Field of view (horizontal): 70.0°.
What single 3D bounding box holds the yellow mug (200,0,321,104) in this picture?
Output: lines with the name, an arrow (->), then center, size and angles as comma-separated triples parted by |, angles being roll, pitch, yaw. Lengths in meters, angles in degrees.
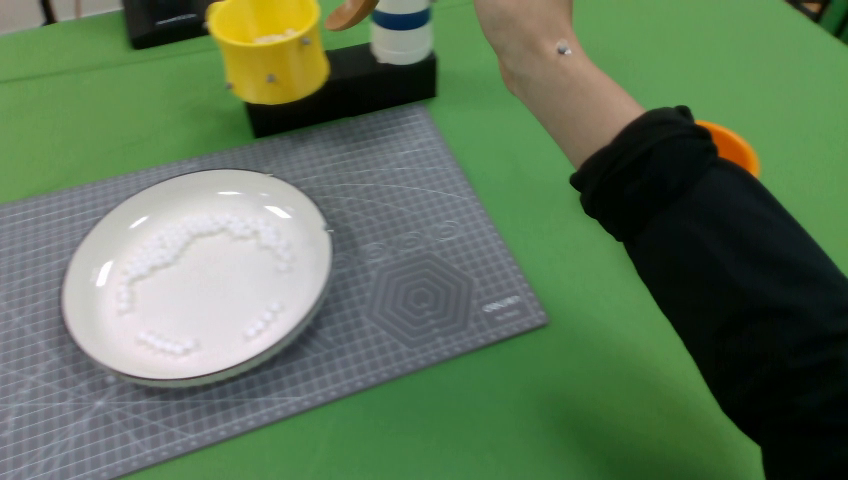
yellow mug -> -0.168, -0.194, 0.590 | 0.130, 0.064, 0.099 | 23, 55, 19

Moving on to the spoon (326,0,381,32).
spoon -> -0.010, -0.189, 0.386 | 0.022, 0.193, 0.041 | 36, 54, -19

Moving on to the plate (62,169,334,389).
plate -> -0.176, 0.028, 0.493 | 0.208, 0.039, 0.205 | 0, 52, 0

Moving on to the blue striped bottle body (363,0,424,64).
blue striped bottle body -> -0.032, -0.240, 0.590 | 0.063, 0.122, 0.062 | 0, 52, 1
